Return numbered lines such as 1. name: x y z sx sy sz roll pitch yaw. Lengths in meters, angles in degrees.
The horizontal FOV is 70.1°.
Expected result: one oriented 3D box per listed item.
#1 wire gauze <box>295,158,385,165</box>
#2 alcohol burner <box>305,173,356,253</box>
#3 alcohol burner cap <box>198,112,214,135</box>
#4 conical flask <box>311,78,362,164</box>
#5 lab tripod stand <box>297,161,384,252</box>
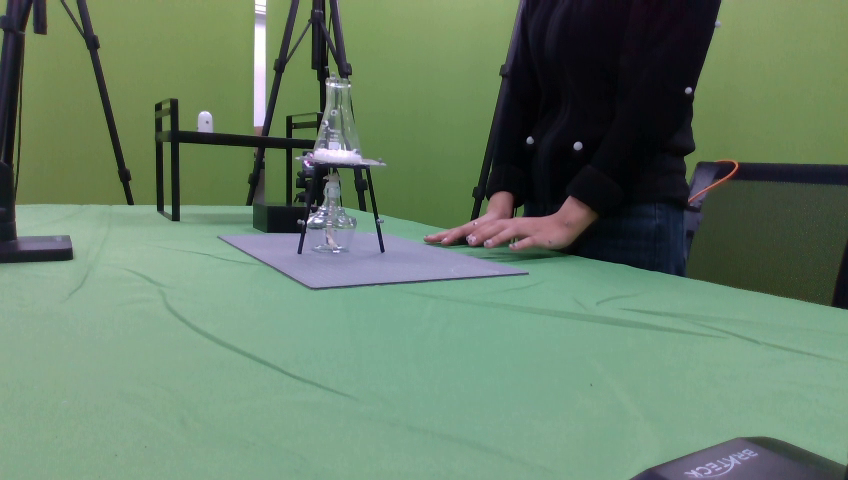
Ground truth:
1. wire gauze: -0.128 -0.117 0.901 0.125 0.011 0.121 -2 8 -14
2. alcohol burner: -0.139 -0.041 0.898 0.078 0.119 0.078 4 8 0
3. alcohol burner cap: -0.459 -0.246 1.271 0.034 0.048 0.034 2 7 0
4. conical flask: -0.128 -0.174 0.890 0.075 0.122 0.075 3 9 0
5. lab tripod stand: -0.130 -0.051 0.903 0.148 0.131 0.148 3 9 0
